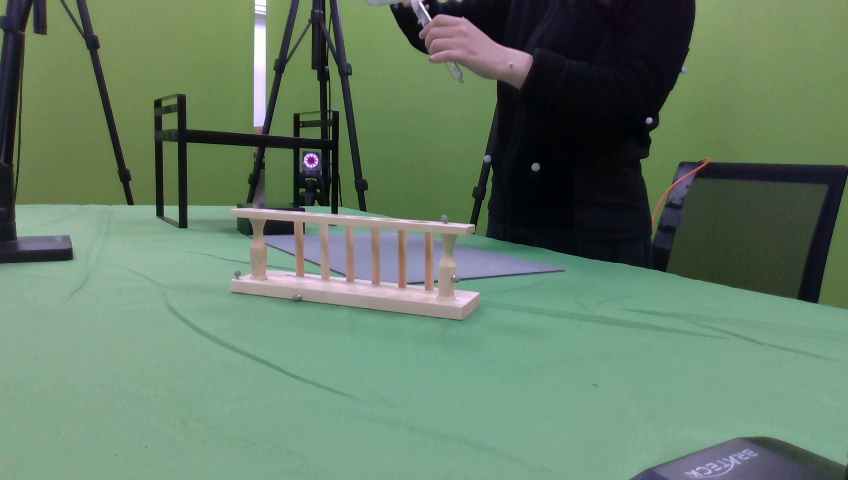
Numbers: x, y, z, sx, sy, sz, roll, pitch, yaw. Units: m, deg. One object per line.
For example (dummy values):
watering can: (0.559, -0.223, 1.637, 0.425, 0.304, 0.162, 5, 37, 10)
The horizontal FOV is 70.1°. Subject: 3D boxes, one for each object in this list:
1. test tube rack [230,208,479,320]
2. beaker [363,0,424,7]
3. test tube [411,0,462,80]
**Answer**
test tube rack: (-0.069, 0.017, 0.598, 0.242, 0.085, 0.067, 5, 8, 18)
beaker: (-0.049, -0.407, 0.956, 0.100, 0.084, 0.074, 6, 5, 34)
test tube: (0.019, -0.303, 0.914, 0.017, 0.150, 0.017, -26, -16, -8)
